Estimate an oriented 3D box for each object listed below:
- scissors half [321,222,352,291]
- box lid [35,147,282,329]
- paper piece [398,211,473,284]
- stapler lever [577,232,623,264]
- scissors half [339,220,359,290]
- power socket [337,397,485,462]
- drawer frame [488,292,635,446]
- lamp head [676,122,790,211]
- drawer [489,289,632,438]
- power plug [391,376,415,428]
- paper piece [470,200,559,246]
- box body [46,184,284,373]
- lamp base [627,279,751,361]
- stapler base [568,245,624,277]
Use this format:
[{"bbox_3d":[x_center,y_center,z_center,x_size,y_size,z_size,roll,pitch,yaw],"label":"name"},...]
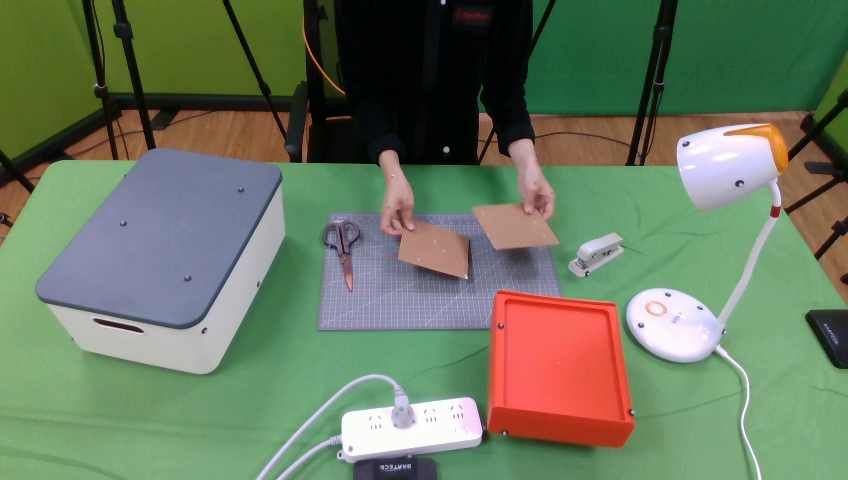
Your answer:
[{"bbox_3d":[-0.164,0.030,1.159,0.040,0.013,0.174,-15,51,-15],"label":"scissors half"},{"bbox_3d":[-0.411,-0.023,0.987,0.263,0.015,0.369,10,47,5],"label":"box lid"},{"bbox_3d":[0.026,0.012,1.149,0.135,0.004,0.135,23,42,-7],"label":"paper piece"},{"bbox_3d":[0.344,0.010,1.178,0.118,0.040,0.026,-26,56,-28],"label":"stapler lever"},{"bbox_3d":[-0.144,0.027,1.162,0.040,0.013,0.174,-6,50,0],"label":"scissors half"},{"bbox_3d":[-0.018,0.285,0.915,0.227,0.033,0.071,-4,46,-8],"label":"power socket"},{"bbox_3d":[0.204,0.191,0.931,0.202,0.083,0.212,7,45,2],"label":"drawer frame"},{"bbox_3d":[0.423,-0.104,0.819,0.122,0.113,0.112,-13,33,40],"label":"lamp head"},{"bbox_3d":[0.203,0.185,0.934,0.194,0.073,0.210,7,47,1],"label":"drawer"},{"bbox_3d":[-0.030,0.249,0.917,0.035,0.053,0.072,3,46,-1],"label":"power plug"},{"bbox_3d":[0.173,-0.034,1.163,0.136,0.009,0.137,-2,40,-19],"label":"paper piece"},{"bbox_3d":[-0.415,0.029,1.040,0.254,0.161,0.362,10,46,5],"label":"box body"},{"bbox_3d":[0.460,0.100,1.027,0.178,0.181,0.160,27,51,17],"label":"lamp base"},{"bbox_3d":[0.341,0.029,1.196,0.130,0.024,0.041,-26,56,-28],"label":"stapler base"}]
